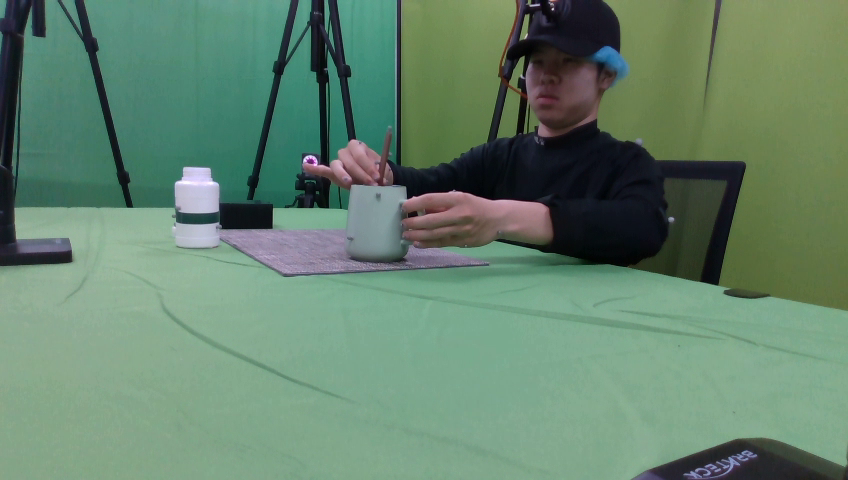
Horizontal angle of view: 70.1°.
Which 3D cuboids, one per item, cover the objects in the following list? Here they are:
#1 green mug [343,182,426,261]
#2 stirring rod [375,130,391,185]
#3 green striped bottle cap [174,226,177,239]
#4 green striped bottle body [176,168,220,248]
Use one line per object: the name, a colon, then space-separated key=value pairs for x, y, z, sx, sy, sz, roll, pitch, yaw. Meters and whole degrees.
green mug: x=-0.053 y=-0.026 z=0.848 sx=0.125 sy=0.105 sz=0.093 roll=6 pitch=8 yaw=29
stirring rod: x=-0.067 y=-0.070 z=0.861 sx=0.006 sy=0.176 sz=0.014 roll=8 pitch=6 yaw=-37
green striped bottle cap: x=-0.405 y=-0.015 z=1.036 sx=0.044 sy=0.020 sz=0.044 roll=-1 pitch=10 yaw=0
green striped bottle body: x=-0.345 y=-0.050 z=0.924 sx=0.063 sy=0.119 sz=0.063 roll=2 pitch=7 yaw=0
